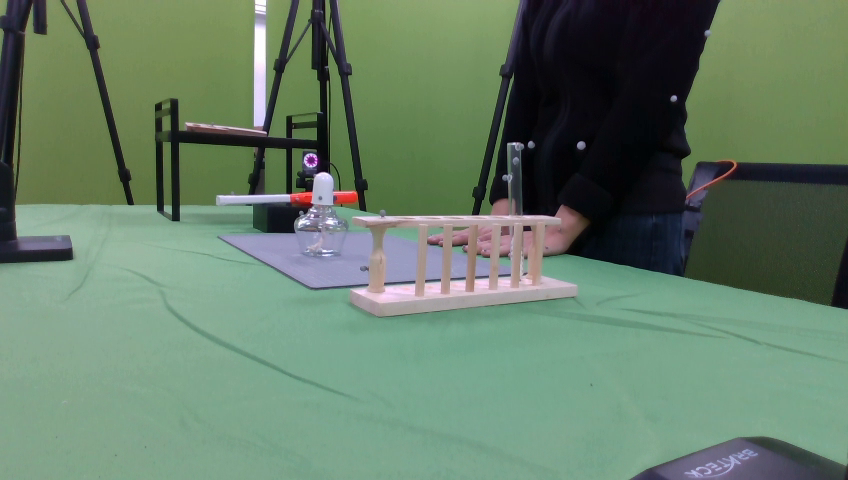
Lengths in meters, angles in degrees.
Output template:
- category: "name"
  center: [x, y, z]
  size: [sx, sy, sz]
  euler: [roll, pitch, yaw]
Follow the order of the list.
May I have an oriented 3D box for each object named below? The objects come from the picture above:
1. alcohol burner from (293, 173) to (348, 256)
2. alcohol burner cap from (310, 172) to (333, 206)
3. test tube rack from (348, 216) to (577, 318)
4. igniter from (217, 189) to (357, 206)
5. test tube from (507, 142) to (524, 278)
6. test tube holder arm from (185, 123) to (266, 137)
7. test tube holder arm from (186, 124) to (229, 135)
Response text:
- category: "alcohol burner"
  center: [-0.147, -0.036, 0.859]
  size: [0.078, 0.119, 0.078]
  euler: [4, 8, 0]
- category: "alcohol burner cap"
  center: [-0.143, -0.071, 0.854]
  size: [0.034, 0.048, 0.034]
  euler: [4, 9, 0]
- category: "test tube rack"
  center: [0.048, 0.021, 0.619]
  size: [0.244, 0.085, 0.066]
  euler: [-2, 8, -31]
- category: "igniter"
  center: [-0.251, -0.081, 1.155]
  size: [0.278, 0.025, 0.057]
  euler: [-5, 8, -32]
- category: "test tube"
  center: [0.101, -0.032, 0.666]
  size: [0.017, 0.150, 0.017]
  euler: [-2, 6, 1]
- category: "test tube holder arm"
  center: [-0.434, -0.242, 1.333]
  size: [0.179, 0.015, 0.013]
  euler: [-3, 48, -43]
- category: "test tube holder arm"
  center: [-0.465, -0.236, 1.300]
  size: [0.088, 0.015, 0.010]
  euler: [-2, 47, -41]
